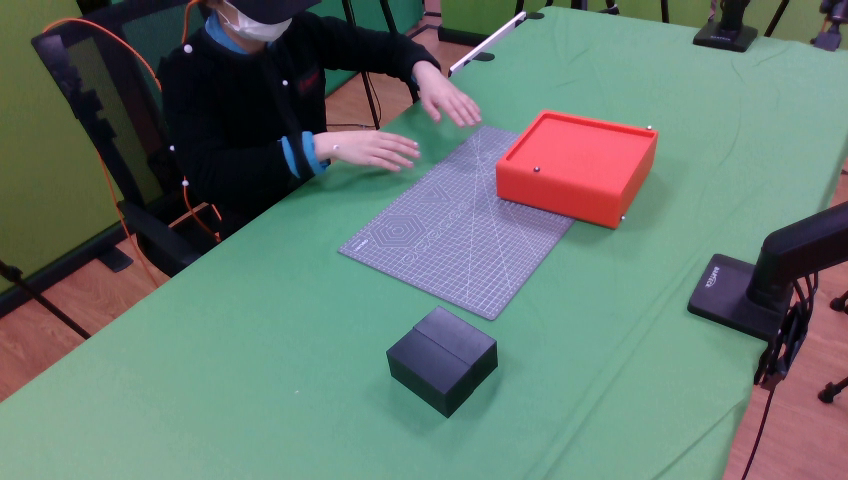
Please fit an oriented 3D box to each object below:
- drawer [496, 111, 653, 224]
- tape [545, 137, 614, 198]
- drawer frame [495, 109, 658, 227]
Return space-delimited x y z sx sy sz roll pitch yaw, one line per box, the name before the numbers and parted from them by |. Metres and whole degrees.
drawer | 0.257 -0.130 1.032 0.210 0.073 0.195 18 46 26
tape | 0.264 -0.124 1.036 0.117 0.053 0.116 -4 40 4
drawer frame | 0.260 -0.130 1.031 0.212 0.083 0.202 18 46 26
